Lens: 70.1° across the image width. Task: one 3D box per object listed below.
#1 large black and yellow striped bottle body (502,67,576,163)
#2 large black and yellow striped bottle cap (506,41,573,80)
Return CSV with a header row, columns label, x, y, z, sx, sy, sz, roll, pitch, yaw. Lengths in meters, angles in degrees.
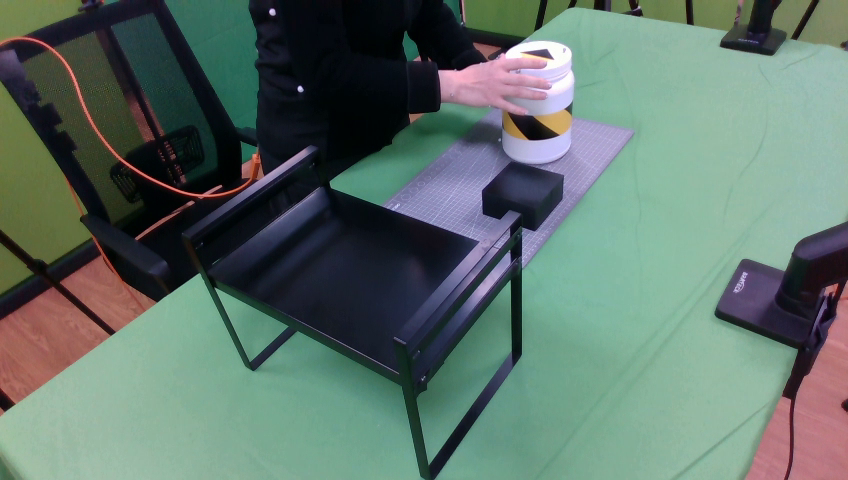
label,x,y,z,sx,sy,sz,roll,pitch,yaw
large black and yellow striped bottle body,0.209,-0.249,1.106,0.131,0.185,0.130,-5,40,4
large black and yellow striped bottle cap,0.200,-0.314,1.051,0.115,0.019,0.114,-5,41,5
